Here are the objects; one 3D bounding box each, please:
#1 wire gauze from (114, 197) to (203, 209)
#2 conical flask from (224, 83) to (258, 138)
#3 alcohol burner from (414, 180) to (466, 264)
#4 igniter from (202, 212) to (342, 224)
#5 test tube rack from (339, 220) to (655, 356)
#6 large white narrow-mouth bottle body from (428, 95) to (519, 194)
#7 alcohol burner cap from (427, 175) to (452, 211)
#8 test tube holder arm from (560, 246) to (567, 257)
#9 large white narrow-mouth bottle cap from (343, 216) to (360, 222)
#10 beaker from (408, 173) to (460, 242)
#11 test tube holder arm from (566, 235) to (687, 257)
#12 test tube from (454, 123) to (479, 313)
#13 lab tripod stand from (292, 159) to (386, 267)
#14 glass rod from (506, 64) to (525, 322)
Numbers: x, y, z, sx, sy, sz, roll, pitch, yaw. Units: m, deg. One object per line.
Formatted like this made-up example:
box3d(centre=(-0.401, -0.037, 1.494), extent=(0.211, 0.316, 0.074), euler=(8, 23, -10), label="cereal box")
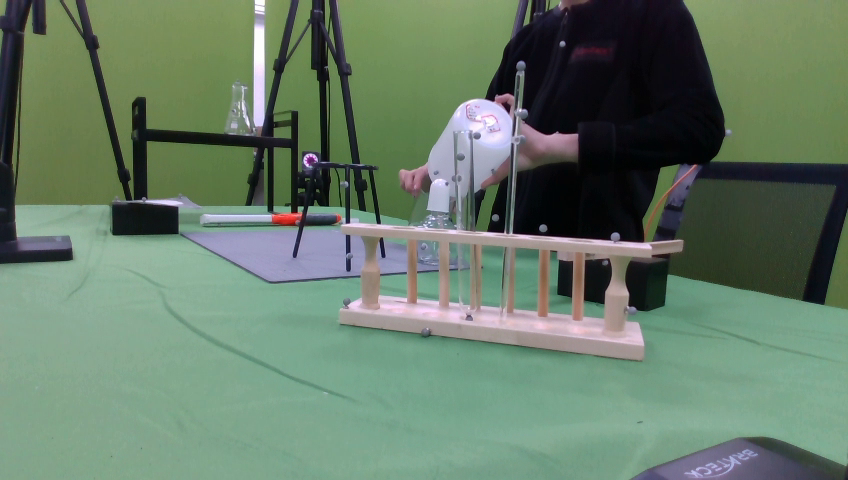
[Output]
box3d(centre=(-0.447, -0.062, 1.015), extent=(0.126, 0.011, 0.121), euler=(-2, 8, -31), label="wire gauze")
box3d(centre=(-0.422, -0.299, 1.395), extent=(0.075, 0.122, 0.075), euler=(2, 7, 0), label="conical flask")
box3d(centre=(0.021, -0.028, 0.826), extent=(0.078, 0.119, 0.078), euler=(0, 6, 0), label="alcohol burner")
box3d(centre=(-0.298, -0.044, 1.216), extent=(0.278, 0.025, 0.057), euler=(-2, -2, -32), label="igniter")
box3d(centre=(0.056, 0.032, 0.495), extent=(0.242, 0.085, 0.067), euler=(4, 7, 15), label="test tube rack")
box3d(centre=(0.063, -0.129, 0.936), extent=(0.102, 0.101, 0.194), euler=(-1, -24, -22), label="large white narrow-mouth bottle body")
box3d(centre=(0.023, -0.064, 0.822), extent=(0.034, 0.048, 0.034), euler=(7, 5, 0), label="alcohol burner cap")
box3d(centre=(0.173, 0.007, 0.611), extent=(0.088, 0.015, 0.010), euler=(-3, 9, -30), label="test tube holder arm")
box3d(centre=(-0.148, -0.036, 1.234), extent=(0.038, 0.024, 0.037), euler=(2, 8, 0), label="large white narrow-mouth bottle cap")
box3d(centre=(0.016, -0.051, 1.037), extent=(0.074, 0.100, 0.083), euler=(5, 38, -17), label="beaker")
box3d(centre=(0.215, 0.006, 0.630), extent=(0.179, 0.015, 0.013), euler=(-3, 9, -31), label="test tube holder arm")
box3d(centre=(0.034, -0.016, 0.477), extent=(0.017, 0.150, 0.017), euler=(-2, 9, 1), label="test tube")
box3d(centre=(-0.105, -0.039, 0.798), extent=(0.148, 0.131, 0.148), euler=(2, 5, 0), label="lab tripod stand")
box3d(centre=(0.069, -0.030, 0.458), extent=(0.008, 0.199, 0.008), euler=(0, 15, 0), label="glass rod")
